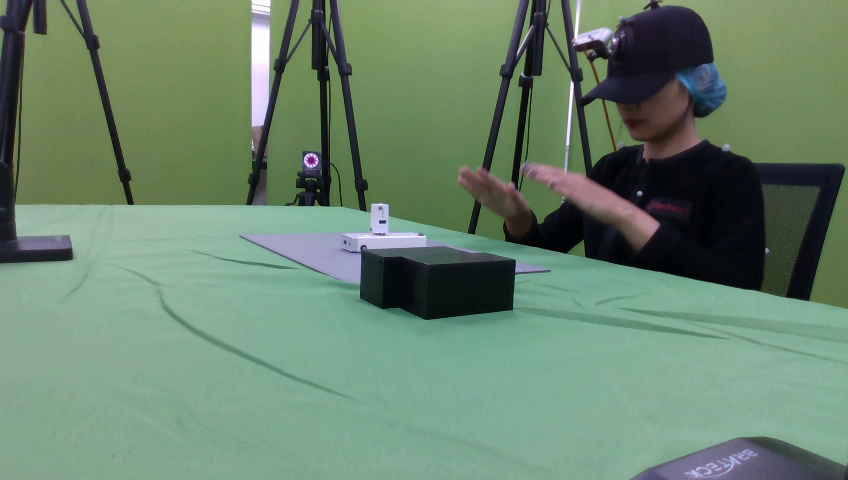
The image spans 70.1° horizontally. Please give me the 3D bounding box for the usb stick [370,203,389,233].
[{"bbox_3d":[-0.068,-0.027,0.926,0.021,0.059,0.027,-2,11,-30],"label":"usb stick"}]

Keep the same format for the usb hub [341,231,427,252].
[{"bbox_3d":[-0.061,0.002,0.930,0.126,0.025,0.049,-2,9,-28],"label":"usb hub"}]
